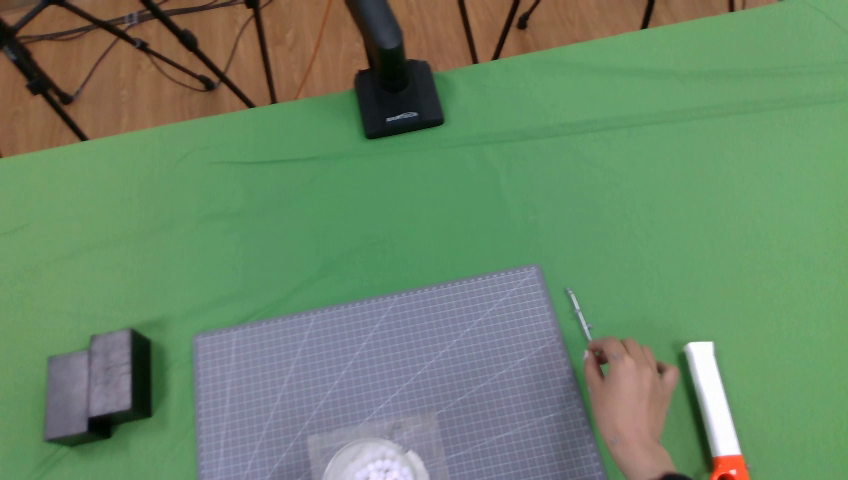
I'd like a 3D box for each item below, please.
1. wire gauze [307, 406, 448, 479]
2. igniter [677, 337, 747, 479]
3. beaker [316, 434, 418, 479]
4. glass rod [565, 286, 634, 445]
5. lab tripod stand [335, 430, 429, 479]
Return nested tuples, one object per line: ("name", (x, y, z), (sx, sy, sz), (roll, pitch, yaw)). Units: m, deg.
("wire gauze", (-0.041, 0.223, 0.553), (0.125, 0.011, 0.120), (-13, 62, 0))
("igniter", (0.324, 0.241, 0.657), (0.057, 0.025, 0.274), (0, 64, -8))
("beaker", (-0.039, 0.211, 0.505), (0.074, 0.101, 0.083), (-41, 67, -15))
("glass rod", (0.207, 0.144, 0.720), (0.008, 0.008, 0.198), (-16, 64, -4))
("lab tripod stand", (-0.037, 0.255, 0.611), (0.148, 0.132, 0.147), (-2, 64, 5))
